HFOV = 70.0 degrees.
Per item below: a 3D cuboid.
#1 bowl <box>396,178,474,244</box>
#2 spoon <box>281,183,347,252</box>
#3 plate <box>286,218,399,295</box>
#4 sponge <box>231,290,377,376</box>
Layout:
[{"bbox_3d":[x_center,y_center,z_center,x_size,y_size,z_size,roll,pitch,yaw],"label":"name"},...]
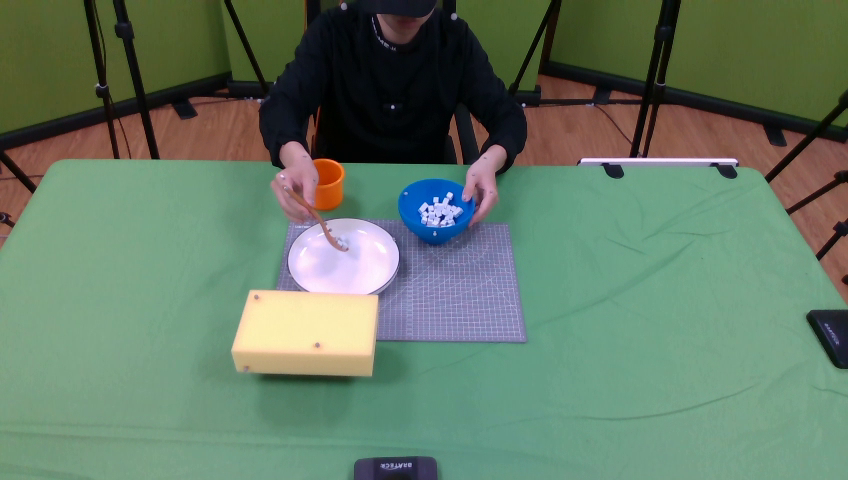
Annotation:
[{"bbox_3d":[0.020,-0.045,1.186,0.151,0.077,0.150,2,44,-1],"label":"bowl"},{"bbox_3d":[-0.191,-0.038,1.063,0.021,0.195,0.041,-35,44,-4],"label":"spoon"},{"bbox_3d":[-0.150,0.042,1.131,0.209,0.038,0.208,2,46,-2],"label":"plate"},{"bbox_3d":[-0.180,0.144,0.949,0.207,0.061,0.117,2,46,-2],"label":"sponge"}]
